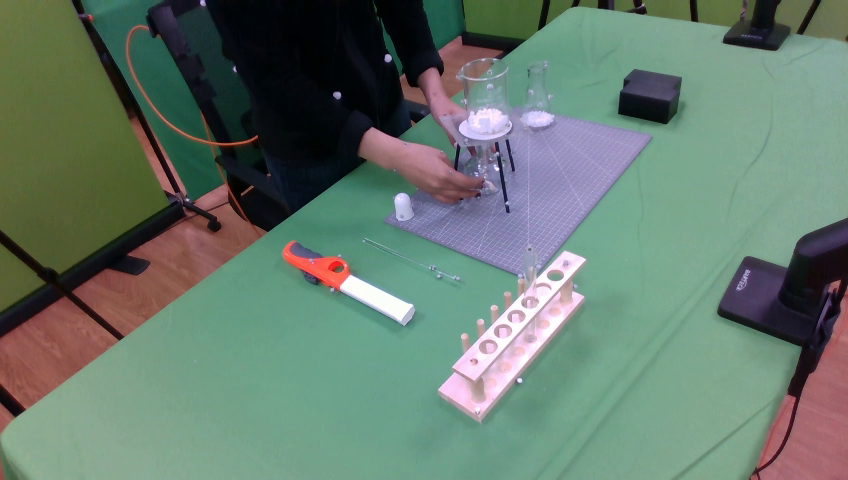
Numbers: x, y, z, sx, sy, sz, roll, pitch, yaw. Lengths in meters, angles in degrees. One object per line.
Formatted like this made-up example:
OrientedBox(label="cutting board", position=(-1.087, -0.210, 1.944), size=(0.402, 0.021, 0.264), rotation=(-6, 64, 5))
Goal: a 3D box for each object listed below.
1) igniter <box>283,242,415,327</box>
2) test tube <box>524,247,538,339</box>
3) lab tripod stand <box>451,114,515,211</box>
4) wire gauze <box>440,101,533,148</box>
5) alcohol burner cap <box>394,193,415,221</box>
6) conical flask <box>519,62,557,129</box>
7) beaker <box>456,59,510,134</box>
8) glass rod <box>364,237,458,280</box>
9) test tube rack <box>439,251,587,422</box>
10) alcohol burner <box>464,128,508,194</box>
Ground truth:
OrientedBox(label="igniter", position=(-0.126, 0.062, 0.931), size=(0.274, 0.025, 0.057), rotation=(24, 61, 33))
OrientedBox(label="test tube", position=(0.133, 0.070, 0.749), size=(0.017, 0.151, 0.017), rotation=(-5, 38, 4))
OrientedBox(label="lab tripod stand", position=(0.113, -0.140, 1.037), size=(0.148, 0.132, 0.147), rotation=(-6, 38, 5))
OrientedBox(label="wire gauze", position=(0.100, -0.189, 0.995), size=(0.125, 0.011, 0.120), rotation=(-16, 37, -6))
OrientedBox(label="alcohol burner cap", position=(-0.036, -0.059, 1.040), size=(0.034, 0.048, 0.033), rotation=(-6, 41, 5))
OrientedBox(label="conical flask", position=(0.225, -0.288, 1.198), size=(0.075, 0.122, 0.075), rotation=(-6, 40, 5))
OrientedBox(label="beaker", position=(0.098, -0.226, 0.964), size=(0.084, 0.101, 0.073), rotation=(-7, 39, 4))
OrientedBox(label="glass rod", position=(-0.026, 0.029, 0.966), size=(0.198, 0.008, 0.008), rotation=(22, 50, 35))
OrientedBox(label="test tube rack", position=(0.118, 0.111, 0.780), size=(0.066, 0.085, 0.243), rotation=(26, 51, 35))
OrientedBox(label="alcohol burner", position=(0.108, -0.141, 1.055), size=(0.078, 0.119, 0.077), rotation=(-5, 38, 4))
